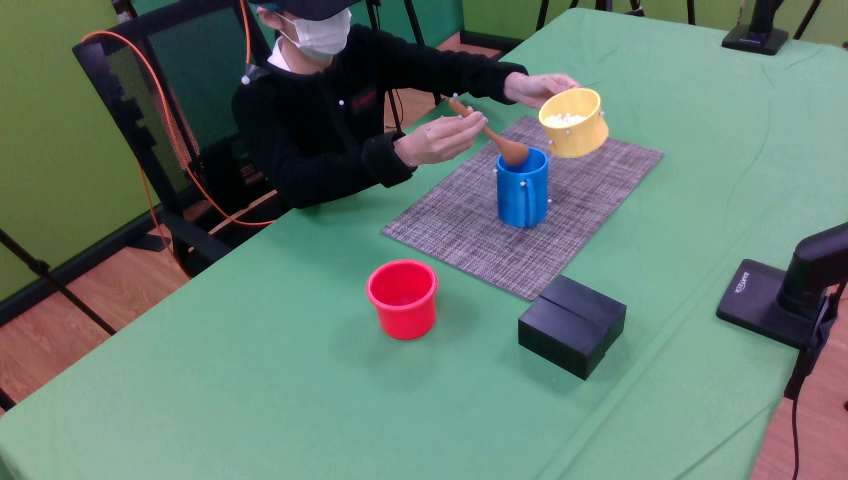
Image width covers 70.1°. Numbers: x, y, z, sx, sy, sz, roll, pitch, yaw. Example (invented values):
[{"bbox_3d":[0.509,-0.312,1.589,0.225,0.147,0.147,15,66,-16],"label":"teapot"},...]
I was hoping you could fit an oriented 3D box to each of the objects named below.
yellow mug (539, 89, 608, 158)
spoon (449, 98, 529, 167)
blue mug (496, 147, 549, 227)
[{"bbox_3d":[0.247,-0.204,1.006,0.099,0.064,0.130,-13,42,19],"label":"yellow mug"},{"bbox_3d":[0.097,-0.157,0.894,0.041,0.195,0.021,-43,43,20],"label":"spoon"},{"bbox_3d":[0.162,-0.076,0.969,0.082,0.106,0.116,-9,40,-1],"label":"blue mug"}]
